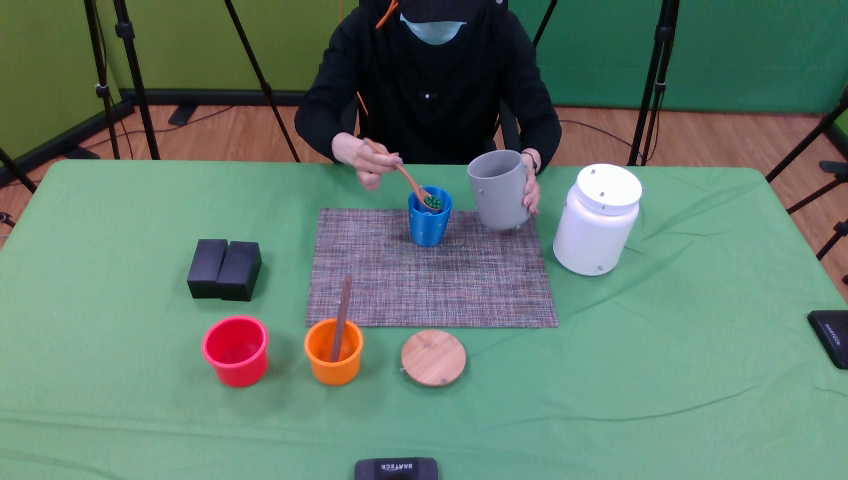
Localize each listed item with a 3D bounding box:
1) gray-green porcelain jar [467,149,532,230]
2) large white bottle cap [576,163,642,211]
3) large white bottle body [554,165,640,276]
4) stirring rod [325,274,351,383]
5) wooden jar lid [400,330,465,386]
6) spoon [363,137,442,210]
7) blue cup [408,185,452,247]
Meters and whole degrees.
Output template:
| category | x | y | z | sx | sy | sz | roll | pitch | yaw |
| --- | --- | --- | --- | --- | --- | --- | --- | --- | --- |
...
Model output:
| category | x | y | z | sx | sy | sz | roll | pitch | yaw |
| --- | --- | --- | --- | --- | --- | --- | --- | --- | --- |
| gray-green porcelain jar | 0.147 | -0.091 | 1.145 | 0.106 | 0.127 | 0.105 | -12 | 33 | 9 |
| large white bottle cap | 0.330 | -0.096 | 1.080 | 0.115 | 0.018 | 0.114 | 2 | 46 | -2 |
| large white bottle body | 0.326 | -0.037 | 1.141 | 0.131 | 0.185 | 0.130 | 2 | 46 | -2 |
| stirring rod | -0.137 | 0.142 | 0.971 | 0.014 | 0.006 | 0.176 | 9 | 89 | 0 |
| wooden jar lid | 0.015 | 0.198 | 1.008 | 0.108 | 0.021 | 0.107 | 2 | 47 | -2 |
| spoon | -0.038 | -0.122 | 1.114 | 0.194 | 0.021 | 0.041 | 46 | 34 | -18 |
| blue cup | 0.008 | -0.041 | 1.176 | 0.093 | 0.101 | 0.092 | 3 | 47 | -3 |
